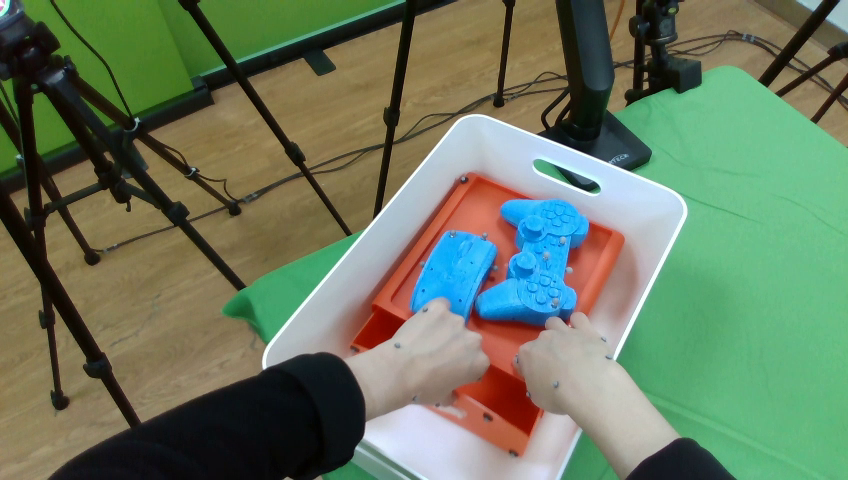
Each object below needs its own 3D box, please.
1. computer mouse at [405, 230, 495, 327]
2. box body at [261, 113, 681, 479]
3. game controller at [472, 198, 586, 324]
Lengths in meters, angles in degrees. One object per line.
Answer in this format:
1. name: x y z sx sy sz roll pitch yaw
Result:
1. computer mouse: 0.028 0.033 0.622 0.062 0.041 0.116 17 51 15
2. box body: 0.058 0.075 0.607 0.253 0.162 0.362 26 59 18
3. game controller: 0.112 0.016 0.627 0.097 0.052 0.154 14 56 7
